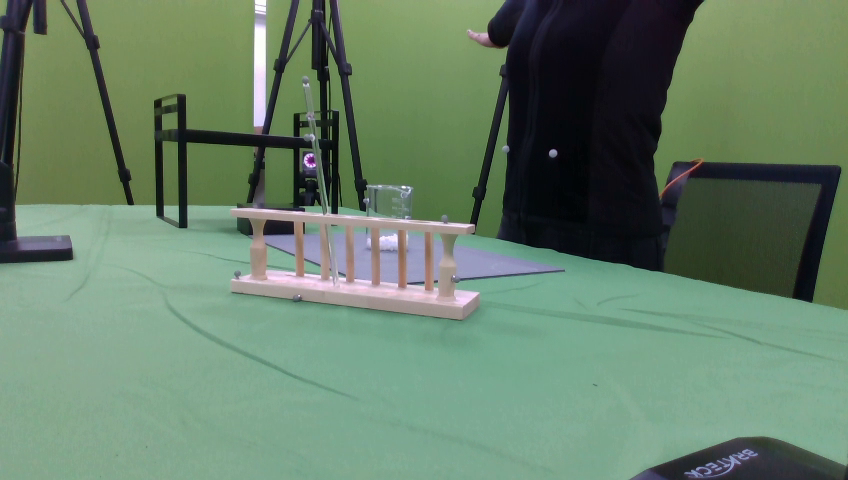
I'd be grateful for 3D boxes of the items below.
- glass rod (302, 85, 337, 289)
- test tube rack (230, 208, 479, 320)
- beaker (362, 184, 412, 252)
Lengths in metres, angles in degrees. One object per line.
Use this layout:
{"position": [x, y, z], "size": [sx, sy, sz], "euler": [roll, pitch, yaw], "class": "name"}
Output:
{"position": [-0.099, -0.047, 0.578], "size": [0.008, 0.199, 0.008], "euler": [-6, 8, 1], "class": "glass rod"}
{"position": [-0.069, 0.017, 0.598], "size": [0.242, 0.085, 0.067], "euler": [5, 8, 18], "class": "test tube rack"}
{"position": [-0.055, -0.034, 0.935], "size": [0.083, 0.100, 0.074], "euler": [10, 11, 44], "class": "beaker"}
